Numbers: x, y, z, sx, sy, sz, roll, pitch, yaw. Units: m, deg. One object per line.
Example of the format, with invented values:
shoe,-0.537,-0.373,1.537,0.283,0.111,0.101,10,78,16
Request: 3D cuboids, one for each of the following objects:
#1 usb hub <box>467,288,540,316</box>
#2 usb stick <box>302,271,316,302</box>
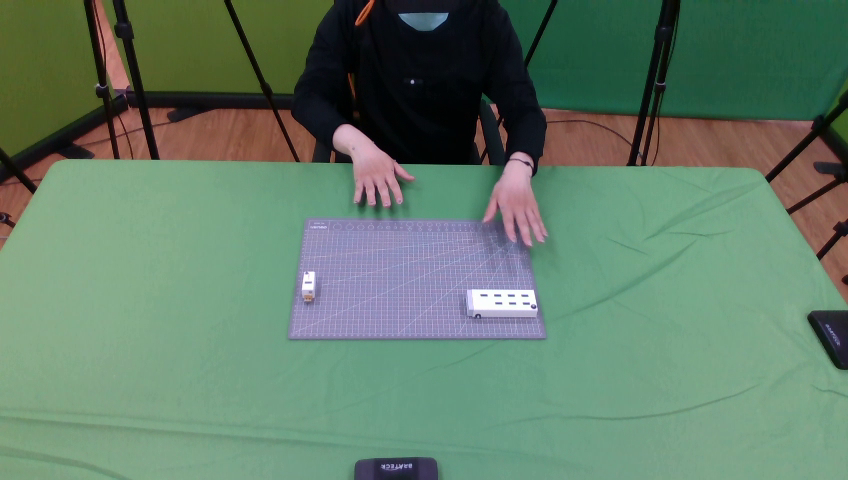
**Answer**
usb hub,0.142,0.112,1.089,0.125,0.025,0.049,0,46,-2
usb stick,-0.207,0.085,1.092,0.021,0.027,0.059,1,49,-5
